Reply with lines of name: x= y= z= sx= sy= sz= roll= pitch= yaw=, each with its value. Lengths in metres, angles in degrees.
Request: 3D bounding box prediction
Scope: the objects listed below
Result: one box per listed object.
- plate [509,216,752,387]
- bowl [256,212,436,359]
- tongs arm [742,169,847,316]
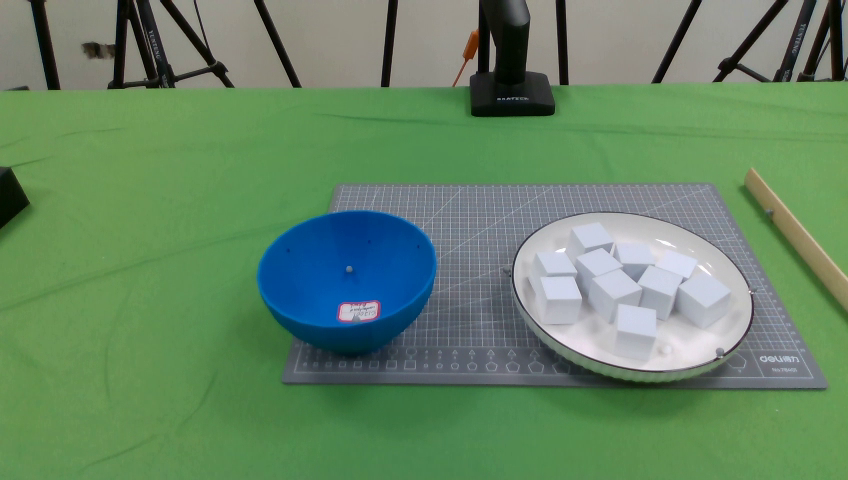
plate: x=0.181 y=0.053 z=0.550 sx=0.208 sy=0.039 sz=0.205 roll=-1 pitch=39 yaw=1
bowl: x=-0.063 y=0.050 z=0.530 sx=0.151 sy=0.077 sz=0.150 roll=-1 pitch=39 yaw=1
tongs arm: x=0.397 y=0.045 z=0.564 sx=0.028 sy=0.028 sz=0.383 roll=-2 pitch=39 yaw=-5
